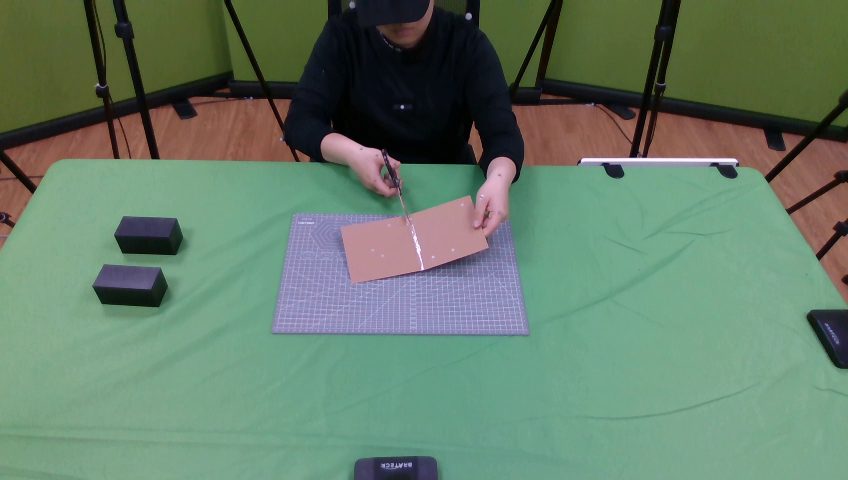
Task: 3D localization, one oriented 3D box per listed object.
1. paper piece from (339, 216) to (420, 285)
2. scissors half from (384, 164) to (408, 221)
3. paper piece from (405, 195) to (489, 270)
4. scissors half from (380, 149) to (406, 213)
[{"bbox_3d":[-0.087,0.016,1.163,0.135,0.004,0.135,-10,56,-9],"label":"paper piece"},{"bbox_3d":[-0.055,-0.099,1.252,0.013,0.040,0.174,-18,50,-3],"label":"scissors half"},{"bbox_3d":[0.042,-0.016,1.170,0.138,0.009,0.135,-17,59,3],"label":"paper piece"},{"bbox_3d":[-0.058,-0.109,1.232,0.013,0.040,0.174,-21,77,2],"label":"scissors half"}]
